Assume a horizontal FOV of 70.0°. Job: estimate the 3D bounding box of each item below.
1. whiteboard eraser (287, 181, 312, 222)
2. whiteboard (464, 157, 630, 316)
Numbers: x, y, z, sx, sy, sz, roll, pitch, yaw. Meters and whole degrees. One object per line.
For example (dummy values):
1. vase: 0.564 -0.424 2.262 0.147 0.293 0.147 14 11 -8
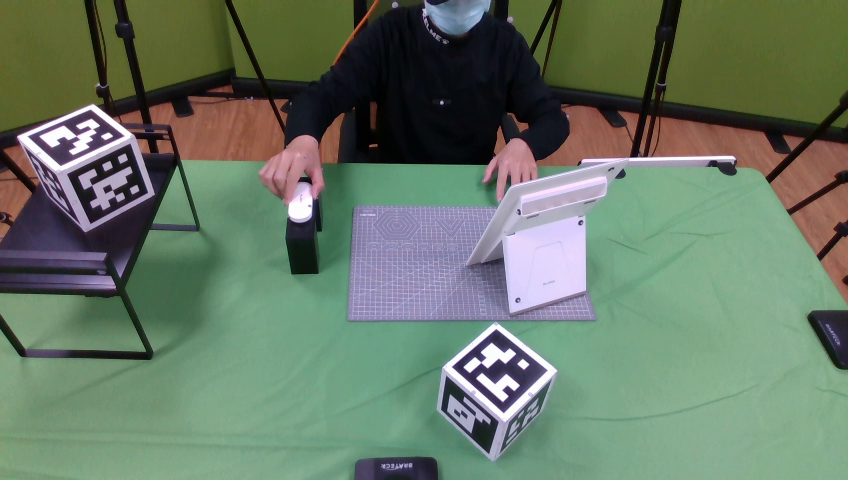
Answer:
1. whiteboard eraser: -0.228 -0.071 1.111 0.041 0.019 0.100 -2 46 -4
2. whiteboard: 0.224 0.015 1.042 0.217 0.306 0.143 -14 68 -17
